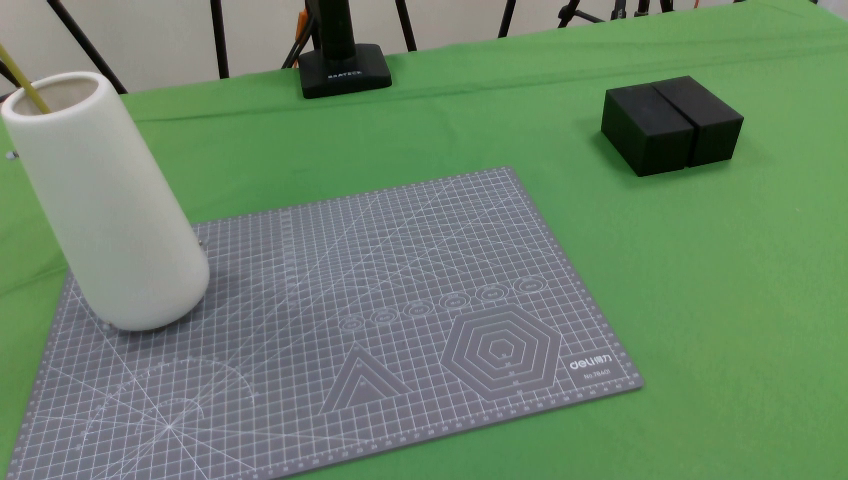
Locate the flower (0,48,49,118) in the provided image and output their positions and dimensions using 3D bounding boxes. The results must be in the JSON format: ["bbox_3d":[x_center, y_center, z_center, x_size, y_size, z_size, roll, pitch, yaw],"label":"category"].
[{"bbox_3d":[-0.260,-0.085,0.418,0.044,0.365,0.038,-39,35,-25],"label":"flower"}]

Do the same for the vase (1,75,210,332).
[{"bbox_3d":[-0.237,-0.021,0.469,0.098,0.202,0.097,-2,40,2],"label":"vase"}]
